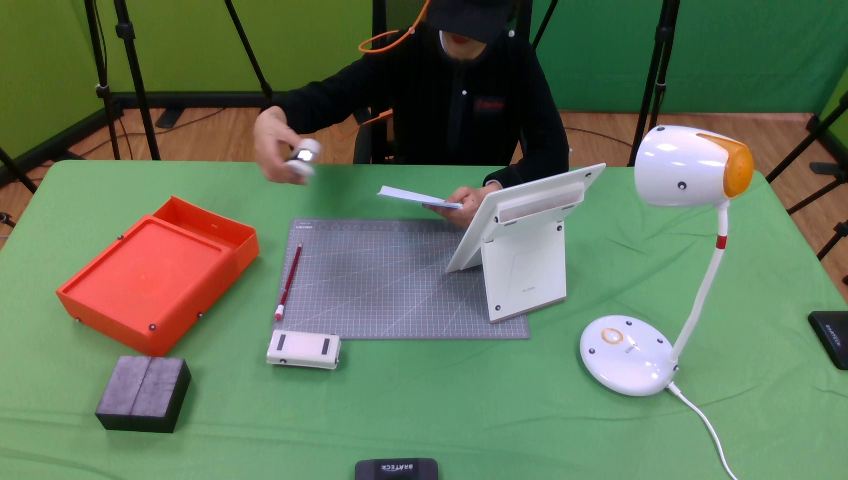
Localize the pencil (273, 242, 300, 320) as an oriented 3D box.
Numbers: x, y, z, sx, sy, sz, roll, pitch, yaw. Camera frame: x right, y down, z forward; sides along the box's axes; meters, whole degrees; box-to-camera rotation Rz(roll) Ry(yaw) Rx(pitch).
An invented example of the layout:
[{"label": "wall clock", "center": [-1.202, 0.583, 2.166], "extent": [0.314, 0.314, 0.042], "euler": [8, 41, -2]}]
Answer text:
[{"label": "pencil", "center": [-0.249, 0.071, 1.115], "extent": [0.012, 0.012, 0.193], "euler": [5, 43, 1]}]

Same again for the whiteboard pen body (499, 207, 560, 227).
[{"label": "whiteboard pen body", "center": [0.222, -0.051, 1.259], "extent": [0.141, 0.017, 0.017], "euler": [-15, 49, -15]}]

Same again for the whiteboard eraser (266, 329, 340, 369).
[{"label": "whiteboard eraser", "center": [-0.198, 0.181, 0.994], "extent": [0.113, 0.042, 0.055], "euler": [5, 45, 1]}]

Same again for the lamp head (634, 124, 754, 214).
[{"label": "lamp head", "center": [0.351, -0.089, 0.776], "extent": [0.112, 0.113, 0.122], "euler": [-30, 30, -28]}]

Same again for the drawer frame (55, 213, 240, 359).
[{"label": "drawer frame", "center": [-0.469, 0.072, 1.050], "extent": [0.201, 0.083, 0.213], "euler": [21, 49, 14]}]

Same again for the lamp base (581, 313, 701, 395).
[{"label": "lamp base", "center": [0.361, 0.144, 0.973], "extent": [0.178, 0.181, 0.160], "euler": [34, 53, 23]}]

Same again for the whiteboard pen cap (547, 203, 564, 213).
[{"label": "whiteboard pen cap", "center": [0.277, -0.066, 1.275], "extent": [0.033, 0.018, 0.018], "euler": [-19, 50, -15]}]

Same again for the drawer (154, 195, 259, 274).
[{"label": "drawer", "center": [-0.441, 0.033, 1.093], "extent": [0.194, 0.073, 0.211], "euler": [21, 49, 15]}]

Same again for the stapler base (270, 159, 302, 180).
[{"label": "stapler base", "center": [-0.233, -0.126, 1.039], "extent": [0.041, 0.130, 0.024], "euler": [31, 79, -20]}]

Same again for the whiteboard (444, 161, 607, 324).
[{"label": "whiteboard", "center": [0.186, 0.025, 1.029], "extent": [0.217, 0.306, 0.143], "euler": [-15, 68, -18]}]

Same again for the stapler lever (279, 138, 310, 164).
[{"label": "stapler lever", "center": [-0.223, -0.148, 1.044], "extent": [0.027, 0.118, 0.040], "euler": [31, 79, -20]}]
